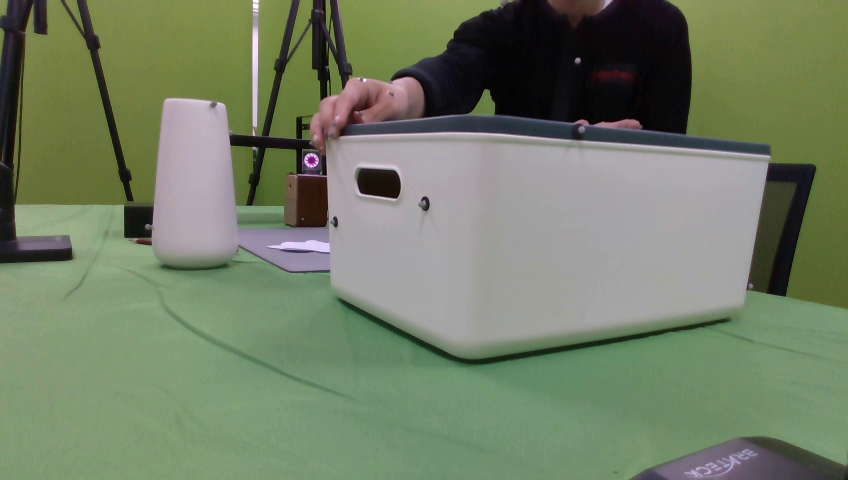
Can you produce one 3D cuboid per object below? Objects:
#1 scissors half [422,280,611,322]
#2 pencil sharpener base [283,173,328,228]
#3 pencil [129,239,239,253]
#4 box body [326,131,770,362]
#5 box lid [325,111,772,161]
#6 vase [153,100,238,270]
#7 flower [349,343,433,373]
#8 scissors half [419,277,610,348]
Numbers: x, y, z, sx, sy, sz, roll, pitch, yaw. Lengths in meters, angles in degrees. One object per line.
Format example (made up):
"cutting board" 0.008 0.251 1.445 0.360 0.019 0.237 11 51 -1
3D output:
"scissors half" 0.073 0.057 0.524 0.174 0.040 0.013 5 40 30
"pencil sharpener base" -0.239 -0.081 1.231 0.077 0.107 0.061 -2 8 -36
"pencil" -0.350 0.007 0.874 0.193 0.012 0.012 4 8 18
"box body" 0.112 -0.010 0.583 0.366 0.160 0.253 -2 9 -32
"box lid" 0.116 -0.089 0.579 0.373 0.015 0.262 -1 6 -33
"vase" -0.278 -0.066 0.736 0.098 0.200 0.098 2 9 0
"flower" 0.103 0.072 0.592 0.362 0.044 0.038 -16 44 -9
"scissors half" 0.076 0.067 0.533 0.174 0.040 0.013 14 50 24
